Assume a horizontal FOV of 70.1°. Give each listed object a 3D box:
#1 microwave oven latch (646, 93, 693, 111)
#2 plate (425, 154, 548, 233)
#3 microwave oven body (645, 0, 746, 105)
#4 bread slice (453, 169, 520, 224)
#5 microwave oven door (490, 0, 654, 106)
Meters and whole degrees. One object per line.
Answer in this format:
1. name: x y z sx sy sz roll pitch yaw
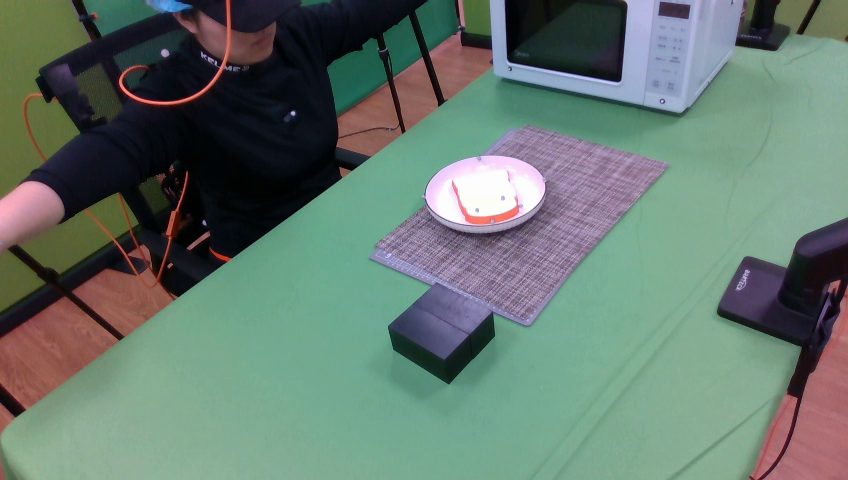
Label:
1. microwave oven latch: 0.477 -0.273 1.177 0.078 0.029 0.030 22 50 33
2. plate: 0.108 -0.076 1.038 0.209 0.038 0.208 -5 39 5
3. microwave oven body: 0.417 -0.486 1.290 0.438 0.261 0.327 22 50 33
4. bread slice: 0.112 -0.076 1.040 0.105 0.019 0.130 -11 40 -1
5. microwave oven door: 0.293 -0.420 1.228 0.353 0.245 0.039 22 49 32
